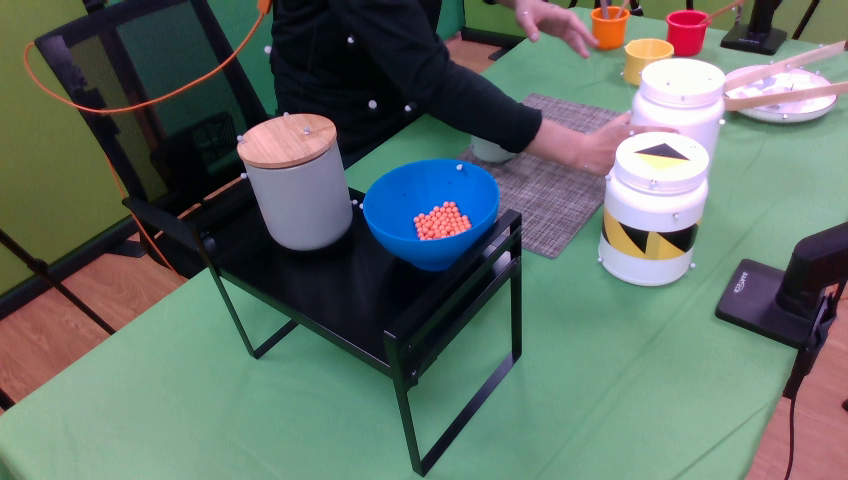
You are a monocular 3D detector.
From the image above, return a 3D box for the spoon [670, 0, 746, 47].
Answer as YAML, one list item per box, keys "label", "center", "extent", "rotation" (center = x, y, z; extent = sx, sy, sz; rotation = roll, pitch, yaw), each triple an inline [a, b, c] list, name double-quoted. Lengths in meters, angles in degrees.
- label: "spoon"
  center: [0.629, -0.485, 1.350]
  extent: [0.022, 0.193, 0.042]
  rotation: [48, 54, -7]

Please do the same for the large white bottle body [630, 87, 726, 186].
- label: "large white bottle body"
  center: [0.391, -0.169, 0.945]
  extent: [0.130, 0.185, 0.130]
  rotation: [-4, 40, 4]

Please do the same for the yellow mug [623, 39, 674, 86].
- label: "yellow mug"
  center: [0.485, -0.398, 1.334]
  extent: [0.100, 0.064, 0.130]
  rotation: [-18, 41, -11]

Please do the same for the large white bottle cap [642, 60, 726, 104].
- label: "large white bottle cap"
  center: [0.382, -0.234, 0.890]
  extent: [0.115, 0.018, 0.114]
  rotation: [-4, 40, 4]

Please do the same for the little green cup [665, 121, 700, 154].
- label: "little green cup"
  center: [0.473, -0.188, 1.113]
  extent: [0.061, 0.039, 0.061]
  rotation: [-6, 40, 5]

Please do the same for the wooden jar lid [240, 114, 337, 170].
- label: "wooden jar lid"
  center: [-0.149, -0.106, 0.673]
  extent: [0.108, 0.021, 0.108]
  rotation: [-6, 38, 5]

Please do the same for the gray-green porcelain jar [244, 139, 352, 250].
- label: "gray-green porcelain jar"
  center: [-0.144, -0.060, 0.714]
  extent: [0.106, 0.127, 0.105]
  rotation: [-4, 41, 4]

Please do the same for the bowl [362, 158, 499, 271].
- label: "bowl"
  center: [0.011, -0.019, 0.678]
  extent: [0.151, 0.077, 0.150]
  rotation: [-5, 41, 5]

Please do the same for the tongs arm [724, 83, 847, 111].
- label: "tongs arm"
  center: [0.738, -0.281, 1.134]
  extent: [0.388, 0.028, 0.028]
  rotation: [-9, 47, -5]

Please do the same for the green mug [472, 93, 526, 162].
- label: "green mug"
  center: [0.144, -0.202, 1.122]
  extent: [0.093, 0.105, 0.124]
  rotation: [-29, 45, -23]

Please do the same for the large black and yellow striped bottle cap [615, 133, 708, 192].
- label: "large black and yellow striped bottle cap"
  center: [0.313, -0.105, 0.798]
  extent: [0.115, 0.019, 0.114]
  rotation: [-5, 41, 5]

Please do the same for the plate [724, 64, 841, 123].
- label: "plate"
  center: [0.695, -0.283, 1.189]
  extent: [0.207, 0.039, 0.206]
  rotation: [-4, 40, 4]

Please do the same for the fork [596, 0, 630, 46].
- label: "fork"
  center: [0.481, -0.556, 1.452]
  extent: [0.028, 0.019, 0.207]
  rotation: [40, 103, 39]

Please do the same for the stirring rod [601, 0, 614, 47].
- label: "stirring rod"
  center: [0.440, -0.552, 1.463]
  extent: [0.014, 0.006, 0.175]
  rotation: [-7, 83, 2]

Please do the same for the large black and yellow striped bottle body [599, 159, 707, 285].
- label: "large black and yellow striped bottle body"
  center: [0.320, -0.042, 0.854]
  extent: [0.131, 0.185, 0.130]
  rotation: [-4, 40, 4]

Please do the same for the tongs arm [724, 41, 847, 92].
- label: "tongs arm"
  center: [0.712, -0.332, 1.194]
  extent: [0.386, 0.026, 0.050]
  rotation: [-19, 45, -16]
